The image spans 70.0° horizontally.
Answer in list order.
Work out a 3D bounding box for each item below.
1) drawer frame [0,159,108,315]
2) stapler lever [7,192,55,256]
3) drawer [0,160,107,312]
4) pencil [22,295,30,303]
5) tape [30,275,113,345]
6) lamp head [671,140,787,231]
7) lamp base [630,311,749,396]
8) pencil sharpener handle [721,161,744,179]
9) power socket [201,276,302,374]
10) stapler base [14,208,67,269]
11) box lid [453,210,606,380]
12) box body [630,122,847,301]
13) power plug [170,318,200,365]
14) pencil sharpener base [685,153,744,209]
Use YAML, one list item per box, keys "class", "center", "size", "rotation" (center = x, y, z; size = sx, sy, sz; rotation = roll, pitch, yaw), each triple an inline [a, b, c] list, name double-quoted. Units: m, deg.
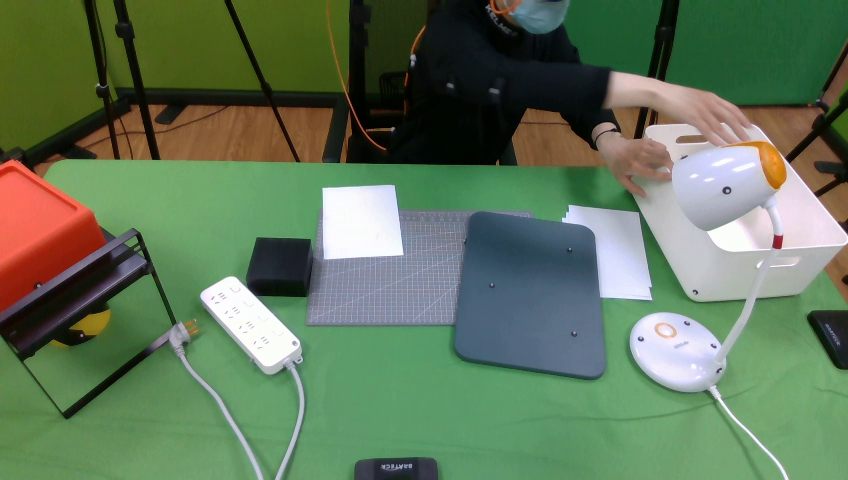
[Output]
- class: "drawer frame"
  center: [-0.611, 0.000, 0.863]
  size: [0.201, 0.083, 0.213]
  rotation: [27, 51, 20]
- class: "stapler lever"
  center: [-0.575, -0.026, 0.885]
  size: [0.027, 0.040, 0.117]
  rotation: [-31, 56, -25]
- class: "drawer"
  center: [-0.610, -0.001, 0.866]
  size: [0.194, 0.073, 0.211]
  rotation: [29, 52, 21]
- class: "pencil"
  center: [-0.591, 0.010, 0.883]
  size: [0.012, 0.012, 0.193]
  rotation: [-17, 61, -19]
- class: "tape"
  center: [-0.593, 0.117, 1.021]
  size: [0.117, 0.053, 0.116]
  rotation: [3, 46, -2]
- class: "lamp head"
  center: [0.415, -0.078, 0.811]
  size: [0.113, 0.123, 0.112]
  rotation: [12, 70, -37]
- class: "lamp base"
  center: [0.447, 0.143, 0.983]
  size: [0.161, 0.181, 0.178]
  rotation: [-24, 55, -24]
- class: "pencil sharpener handle"
  center: [0.668, -0.148, 1.300]
  size: [0.031, 0.068, 0.036]
  rotation: [-8, 78, -13]
- class: "power socket"
  center: [-0.297, 0.141, 1.034]
  size: [0.072, 0.033, 0.225]
  rotation: [-34, 58, -30]
- class: "stapler base"
  center: [-0.577, -0.010, 0.903]
  size: [0.041, 0.024, 0.130]
  rotation: [-30, 57, -25]
- class: "box lid"
  center: [0.200, 0.085, 1.138]
  size: [0.263, 0.015, 0.369]
  rotation: [8, 47, 3]
- class: "box body"
  center: [0.594, -0.062, 1.202]
  size: [0.254, 0.161, 0.361]
  rotation: [-4, 47, -7]
- class: "power plug"
  center: [-0.392, 0.167, 1.014]
  size: [0.052, 0.035, 0.072]
  rotation: [-30, 90, -23]
- class: "pencil sharpener base"
  center: [0.620, -0.125, 1.293]
  size: [0.077, 0.107, 0.061]
  rotation: [-8, 47, -13]
